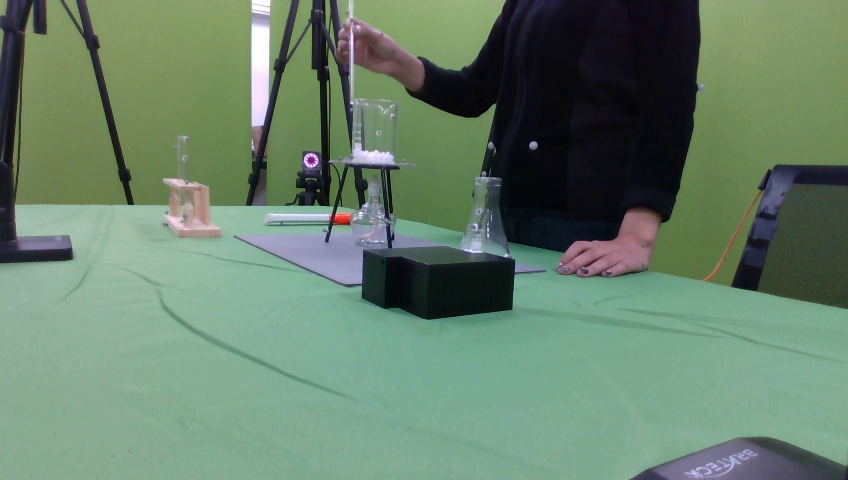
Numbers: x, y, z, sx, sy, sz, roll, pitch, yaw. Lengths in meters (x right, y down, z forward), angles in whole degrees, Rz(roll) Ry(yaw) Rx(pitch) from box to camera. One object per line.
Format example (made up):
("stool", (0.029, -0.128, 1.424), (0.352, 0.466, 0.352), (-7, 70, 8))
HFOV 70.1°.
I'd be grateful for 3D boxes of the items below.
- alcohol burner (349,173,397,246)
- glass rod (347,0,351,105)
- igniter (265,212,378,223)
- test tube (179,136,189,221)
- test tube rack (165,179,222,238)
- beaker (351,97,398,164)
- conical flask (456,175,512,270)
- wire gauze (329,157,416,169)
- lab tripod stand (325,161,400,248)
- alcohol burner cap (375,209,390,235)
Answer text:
("alcohol burner", (-0.081, -0.050, 0.982), (0.078, 0.119, 0.078), (4, 8, 0))
("glass rod", (-0.131, -0.330, 1.053), (0.008, 0.199, 0.008), (-1, -10, 0))
("igniter", (-0.195, -0.048, 1.285), (0.278, 0.025, 0.057), (-2, -2, -30))
("test tube", (-0.425, -0.108, 1.070), (0.017, 0.150, 0.017), (4, 9, 0))
("test tube rack", (-0.423, -0.062, 1.098), (0.067, 0.085, 0.241), (-2, 9, -28))
("beaker", (-0.078, -0.172, 0.962), (0.074, 0.100, 0.084), (6, 8, 19))
("conical flask", (0.082, -0.025, 0.801), (0.075, 0.122, 0.075), (2, 7, 0))
("wire gauze", (-0.079, -0.125, 0.972), (0.121, 0.011, 0.125), (6, 6, 5))
("lab tripod stand", (-0.083, -0.059, 0.977), (0.148, 0.131, 0.148), (4, 8, 0))
("alcohol burner cap", (-0.076, -0.035, 1.145), (0.034, 0.048, 0.034), (1, 6, 0))
